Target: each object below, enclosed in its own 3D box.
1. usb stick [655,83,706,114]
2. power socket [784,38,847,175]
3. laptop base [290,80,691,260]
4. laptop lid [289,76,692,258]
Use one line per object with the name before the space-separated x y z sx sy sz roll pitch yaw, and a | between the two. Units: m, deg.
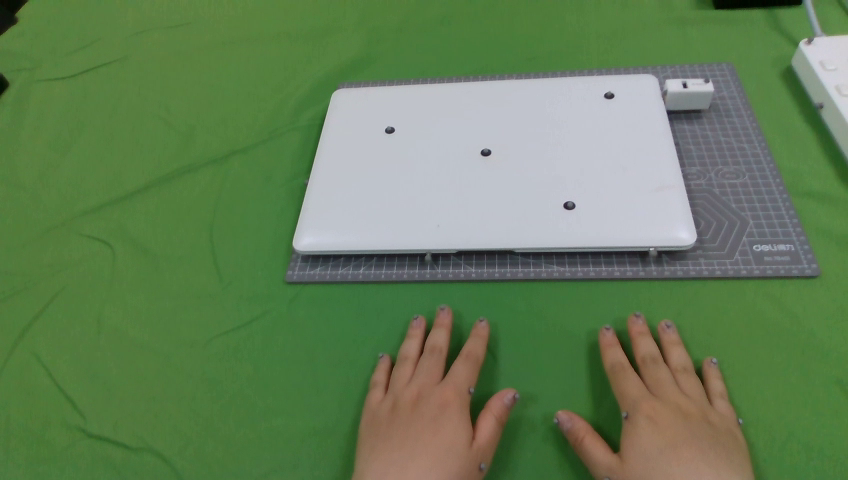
usb stick | 0.255 -0.145 0.622 0.059 0.027 0.021 -2 48 10
power socket | 0.423 -0.128 0.590 0.072 0.033 0.224 -1 49 5
laptop base | 0.059 -0.073 0.603 0.354 0.023 0.233 -1 53 7
laptop lid | 0.057 -0.079 0.592 0.356 0.013 0.239 0 52 8
